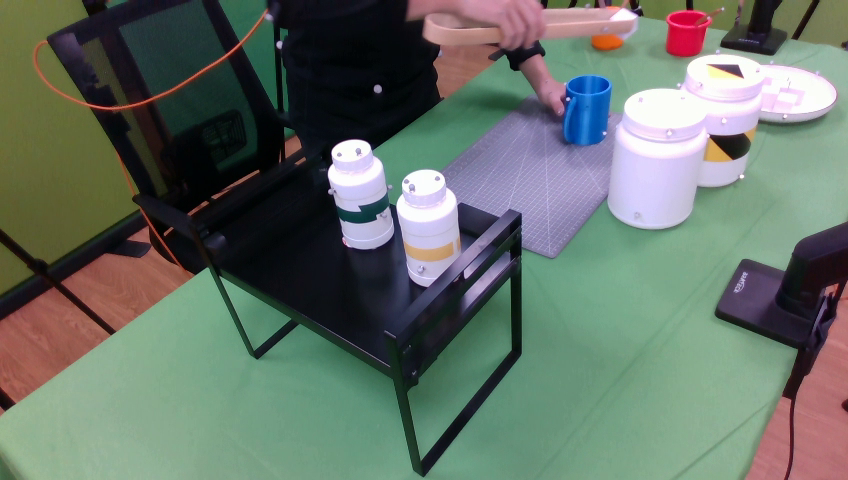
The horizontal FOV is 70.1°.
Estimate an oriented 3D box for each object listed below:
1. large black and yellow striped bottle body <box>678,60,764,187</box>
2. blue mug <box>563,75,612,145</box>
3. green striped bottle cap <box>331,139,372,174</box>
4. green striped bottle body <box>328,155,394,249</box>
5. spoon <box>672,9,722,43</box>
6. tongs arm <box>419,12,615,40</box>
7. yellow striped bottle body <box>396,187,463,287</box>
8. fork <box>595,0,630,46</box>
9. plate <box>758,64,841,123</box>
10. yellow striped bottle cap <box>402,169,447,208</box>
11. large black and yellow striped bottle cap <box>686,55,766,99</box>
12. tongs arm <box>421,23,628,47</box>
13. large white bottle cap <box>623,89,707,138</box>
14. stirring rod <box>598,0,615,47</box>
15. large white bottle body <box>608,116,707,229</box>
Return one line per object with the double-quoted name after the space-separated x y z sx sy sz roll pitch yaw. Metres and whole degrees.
0.482 -0.196 1.008 0.131 0.185 0.130 -4 41 4 "large black and yellow striped bottle body"
0.299 -0.239 1.143 0.081 0.106 0.117 29 53 35 "blue mug"
-0.080 -0.092 0.665 0.044 0.020 0.044 -3 40 3 "green striped bottle cap"
-0.073 -0.053 0.699 0.063 0.120 0.063 -4 41 4 "green striped bottle body"
0.606 -0.476 1.345 0.042 0.021 0.193 -6 -3 -2 "spoon"
0.165 -0.346 0.977 0.387 0.026 0.050 -8 48 -23 "tongs arm"
0.006 -0.013 0.638 0.063 0.121 0.062 -5 41 4 "yellow striped bottle body"
0.480 -0.556 1.453 0.028 0.019 0.207 41 103 40 "fork"
0.694 -0.283 1.189 0.207 0.039 0.206 -4 40 4 "plate"
0.000 -0.052 0.605 0.044 0.019 0.044 -4 43 5 "yellow striped bottle cap"
0.474 -0.258 0.952 0.115 0.019 0.114 -5 41 5 "large black and yellow striped bottle cap"
0.175 -0.330 0.962 0.390 0.028 0.028 -11 52 -25 "tongs arm"
0.352 -0.187 0.886 0.115 0.018 0.114 -4 41 4 "large white bottle cap"
0.437 -0.551 1.462 0.014 0.006 0.175 -11 83 1 "stirring rod"
0.361 -0.123 0.942 0.130 0.185 0.130 -5 41 4 "large white bottle body"
